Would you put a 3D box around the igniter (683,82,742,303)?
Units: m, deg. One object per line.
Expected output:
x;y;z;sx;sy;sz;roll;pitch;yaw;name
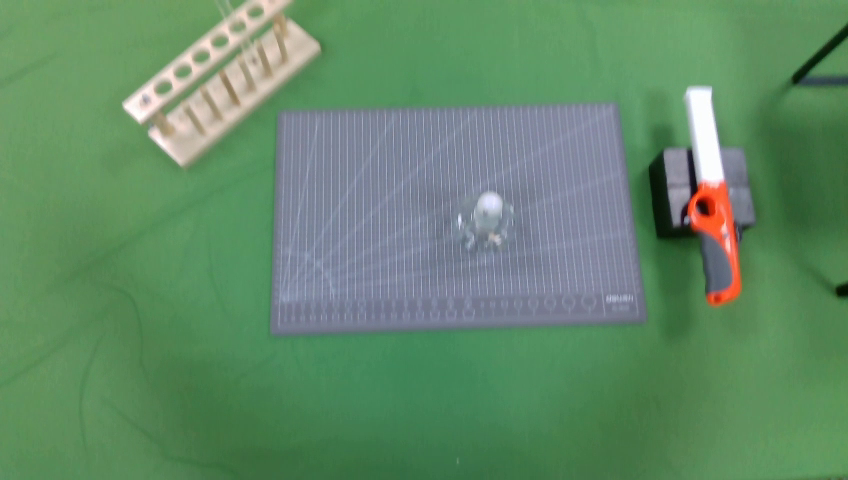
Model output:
0.336;-0.061;0.712;0.057;0.025;0.275;1;73;1;igniter

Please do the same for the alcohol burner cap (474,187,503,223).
0.072;-0.040;0.664;0.034;0.048;0.033;-1;76;3;alcohol burner cap

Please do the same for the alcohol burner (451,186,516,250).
0.071;-0.031;0.699;0.078;0.119;0.077;1;73;-2;alcohol burner

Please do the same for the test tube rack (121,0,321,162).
-0.245;-0.215;0.758;0.066;0.085;0.242;42;78;10;test tube rack

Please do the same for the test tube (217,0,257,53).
-0.230;-0.273;0.723;0.017;0.151;0.017;-1;72;4;test tube
